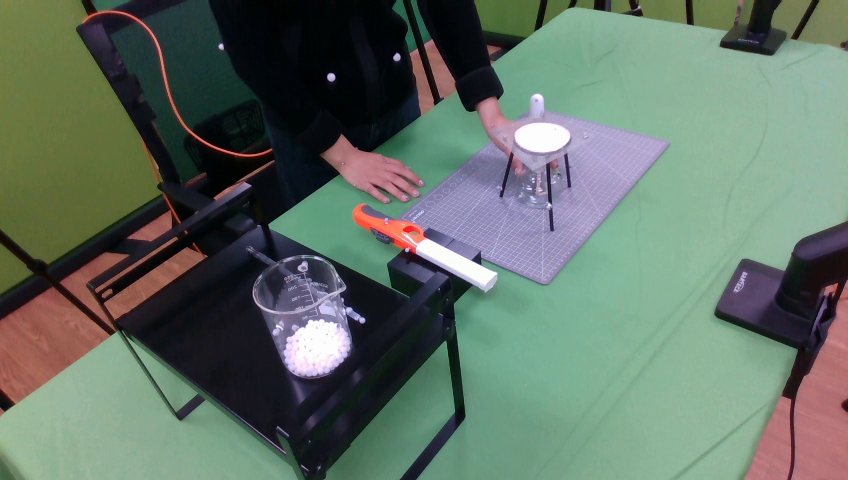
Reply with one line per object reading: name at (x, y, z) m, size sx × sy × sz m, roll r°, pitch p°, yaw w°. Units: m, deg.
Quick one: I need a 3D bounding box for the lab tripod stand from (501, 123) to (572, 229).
lab tripod stand at (0.194, -0.110, 0.985) m, size 0.148 × 0.132 × 0.147 m, roll -3°, pitch 41°, yaw 3°

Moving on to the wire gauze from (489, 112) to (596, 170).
wire gauze at (0.183, -0.161, 0.942) m, size 0.122 × 0.011 × 0.124 m, roll -24°, pitch 44°, yaw -18°

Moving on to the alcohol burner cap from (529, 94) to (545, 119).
alcohol burner cap at (0.233, -0.277, 1.247) m, size 0.034 × 0.048 × 0.033 m, roll -5°, pitch 41°, yaw 5°

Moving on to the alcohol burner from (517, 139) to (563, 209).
alcohol burner at (0.192, -0.113, 1.003) m, size 0.078 × 0.119 × 0.077 m, roll -6°, pitch 38°, yaw 5°

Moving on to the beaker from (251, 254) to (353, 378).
beaker at (-0.106, 0.074, 0.565) m, size 0.084 × 0.101 × 0.073 m, roll -1°, pitch 41°, yaw 8°

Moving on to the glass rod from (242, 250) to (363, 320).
glass rod at (-0.141, 0.046, 0.674) m, size 0.198 × 0.008 × 0.008 m, roll 24°, pitch 49°, yaw 32°

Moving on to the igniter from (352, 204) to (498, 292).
igniter at (-0.009, 0.005, 0.895) m, size 0.274 × 0.025 × 0.057 m, roll 27°, pitch 48°, yaw 32°
